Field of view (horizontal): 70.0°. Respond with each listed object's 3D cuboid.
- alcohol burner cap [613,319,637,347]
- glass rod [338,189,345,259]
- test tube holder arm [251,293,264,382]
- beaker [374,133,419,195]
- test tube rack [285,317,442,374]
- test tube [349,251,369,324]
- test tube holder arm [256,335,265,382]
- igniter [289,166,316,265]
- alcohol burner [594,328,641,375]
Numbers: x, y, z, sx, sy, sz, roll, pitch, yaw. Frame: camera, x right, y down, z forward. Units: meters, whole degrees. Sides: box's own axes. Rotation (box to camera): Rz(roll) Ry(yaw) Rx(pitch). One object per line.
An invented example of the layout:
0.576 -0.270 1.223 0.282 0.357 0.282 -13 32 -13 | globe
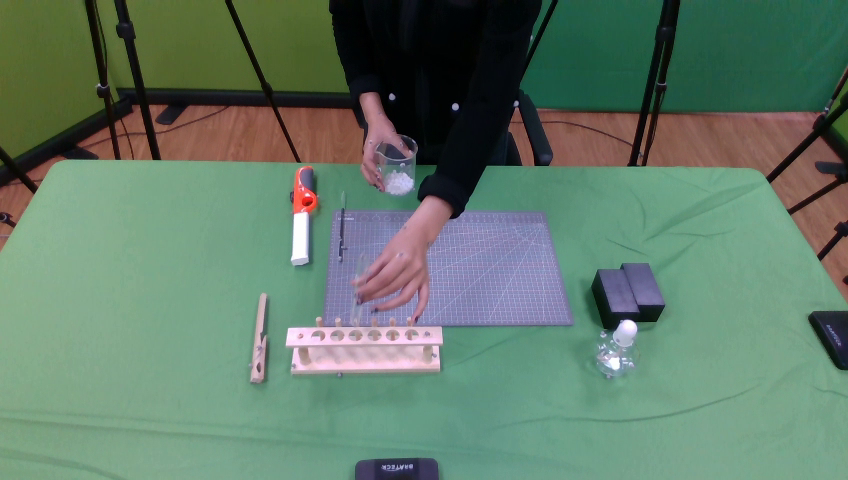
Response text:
0.323 0.146 0.966 0.034 0.048 0.033 -1 52 2 | alcohol burner cap
-0.166 -0.037 1.227 0.008 0.008 0.198 -1 46 -4 | glass rod
-0.281 0.160 1.025 0.013 0.015 0.177 23 36 -32 | test tube holder arm
-0.053 -0.142 1.160 0.084 0.101 0.073 -5 50 -8 | beaker
-0.095 0.166 0.988 0.242 0.085 0.066 0 46 -4 | test tube rack
-0.094 0.072 0.870 0.017 0.151 0.017 7 45 -7 | test tube
-0.270 0.193 0.997 0.010 0.015 0.087 24 36 -31 | test tube holder arm
-0.247 -0.058 1.233 0.057 0.025 0.274 -10 47 1 | igniter
0.322 0.170 0.994 0.078 0.119 0.077 3 48 -3 | alcohol burner
